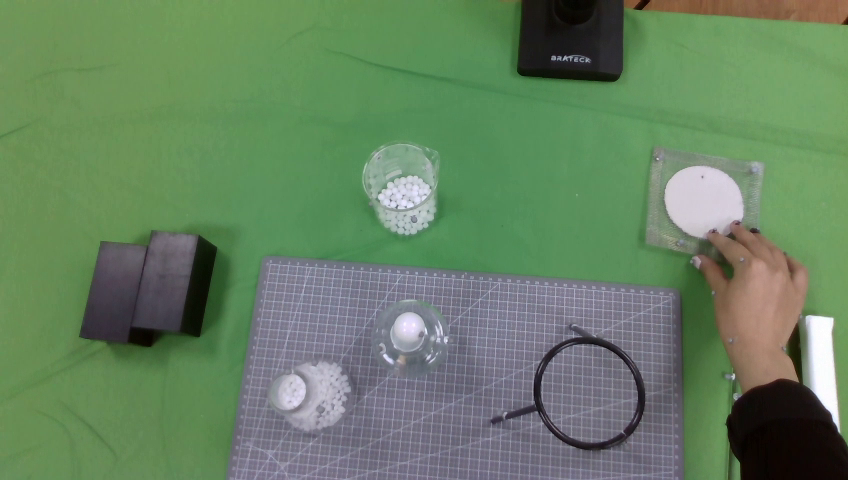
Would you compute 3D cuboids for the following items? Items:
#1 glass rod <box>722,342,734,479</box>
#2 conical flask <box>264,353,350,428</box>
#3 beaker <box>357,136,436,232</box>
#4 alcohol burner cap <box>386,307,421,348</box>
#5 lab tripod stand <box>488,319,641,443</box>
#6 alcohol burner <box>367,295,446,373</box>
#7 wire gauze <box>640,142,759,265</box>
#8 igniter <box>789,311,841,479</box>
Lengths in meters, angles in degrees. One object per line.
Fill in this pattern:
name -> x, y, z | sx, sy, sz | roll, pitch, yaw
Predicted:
glass rod -> 0.301, 0.200, 0.602 | 0.008, 0.008, 0.198 | 9, 75, 4
conical flask -> -0.114, 0.139, 0.568 | 0.075, 0.122, 0.075 | 0, 75, 2
beaker -> -0.023, -0.055, 0.630 | 0.084, 0.101, 0.073 | -35, 77, -8
alcohol burner cap -> -0.017, 0.077, 0.548 | 0.034, 0.048, 0.033 | 3, 69, -6
lab tripod stand -> 0.131, 0.138, 0.556 | 0.148, 0.132, 0.147 | 0, 77, 2
alcohol burner -> -0.017, 0.088, 0.583 | 0.078, 0.119, 0.077 | 0, 75, 0
wire gauze -> 0.303, -0.044, 0.666 | 0.125, 0.011, 0.121 | 12, 77, 2
igniter -> 0.383, 0.207, 0.589 | 0.057, 0.025, 0.275 | 7, 76, -8
